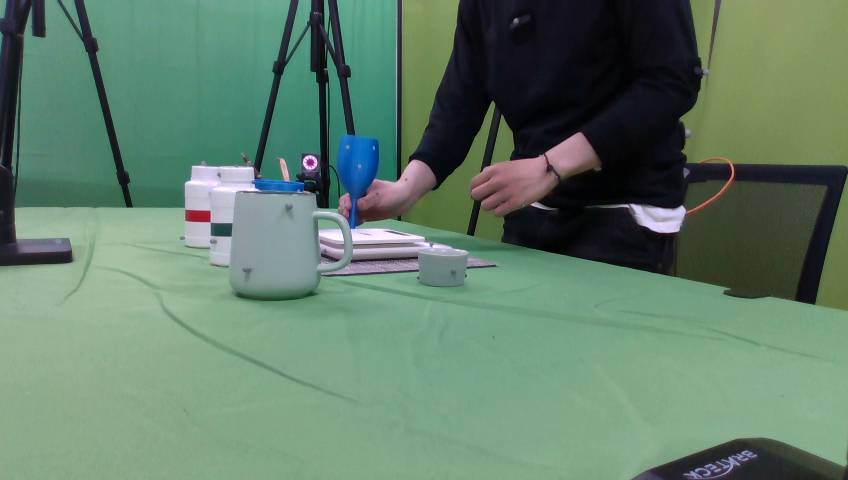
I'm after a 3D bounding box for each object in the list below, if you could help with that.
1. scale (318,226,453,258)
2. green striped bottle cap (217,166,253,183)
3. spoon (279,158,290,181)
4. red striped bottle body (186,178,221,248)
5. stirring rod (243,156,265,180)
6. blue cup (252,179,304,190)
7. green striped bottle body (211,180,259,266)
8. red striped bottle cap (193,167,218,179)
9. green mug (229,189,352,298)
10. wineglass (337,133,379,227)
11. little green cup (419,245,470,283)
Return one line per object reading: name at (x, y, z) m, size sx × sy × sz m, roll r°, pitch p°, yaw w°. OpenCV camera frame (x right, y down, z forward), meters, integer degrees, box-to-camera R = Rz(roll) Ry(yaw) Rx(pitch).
scale at (-0.067, 0.001, 0.906) m, size 0.202 × 0.031 × 0.148 m, roll -2°, pitch 8°, yaw -31°
green striped bottle cap at (-0.242, -0.085, 0.777) m, size 0.044 × 0.020 × 0.044 m, roll 2°, pitch 9°, yaw 0°
spoon at (-0.280, -0.102, 1.251) m, size 0.042 × 0.193 × 0.021 m, roll 7°, pitch -40°, yaw -30°
red striped bottle body at (-0.331, -0.050, 0.927) m, size 0.063 × 0.119 × 0.063 m, roll 2°, pitch 7°, yaw 0°
stirring rod at (-0.304, -0.099, 1.201) m, size 0.006 × 0.177 × 0.014 m, roll -27°, pitch 37°, yaw 7°
blue cup at (-0.230, -0.041, 0.929) m, size 0.093 × 0.100 × 0.092 m, roll 4°, pitch 6°, yaw 0°
green striped bottle body at (-0.243, -0.029, 0.784) m, size 0.063 × 0.119 × 0.063 m, roll 2°, pitch 7°, yaw 0°
red striped bottle cap at (-0.329, -0.102, 0.921) m, size 0.044 × 0.017 × 0.044 m, roll 1°, pitch 8°, yaw 0°
green mug at (-0.135, 0.002, 0.618) m, size 0.125 × 0.105 × 0.092 m, roll 2°, pitch 7°, yaw 4°
wineglass at (-0.116, -0.092, 1.028) m, size 0.074 × 0.172 × 0.073 m, roll 5°, pitch 6°, yaw 0°
little green cup at (0.023, 0.028, 0.712) m, size 0.061 × 0.038 × 0.061 m, roll 2°, pitch 6°, yaw 0°
